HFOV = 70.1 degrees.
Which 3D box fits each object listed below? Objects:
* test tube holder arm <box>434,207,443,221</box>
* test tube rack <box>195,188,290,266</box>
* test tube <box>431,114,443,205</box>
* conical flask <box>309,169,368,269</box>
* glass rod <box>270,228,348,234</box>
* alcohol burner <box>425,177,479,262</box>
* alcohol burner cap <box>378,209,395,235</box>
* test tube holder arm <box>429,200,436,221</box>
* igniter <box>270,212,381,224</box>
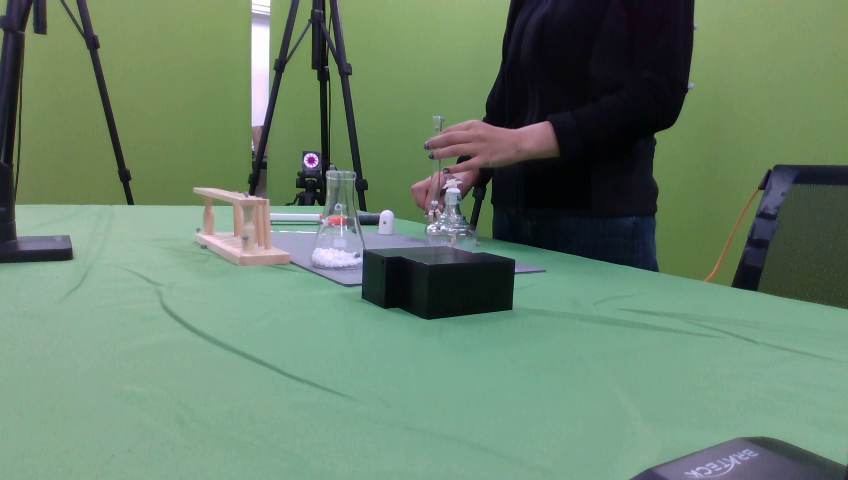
[{"bbox_3d":[0.023,-0.046,1.056,0.010,0.015,0.087,4,11,-6],"label":"test tube holder arm"},{"bbox_3d":[-0.266,-0.025,0.864,0.067,0.085,0.241,-2,9,-33],"label":"test tube rack"},{"bbox_3d":[0.021,-0.133,1.002,0.017,0.150,0.017,1,11,0],"label":"test tube"},{"bbox_3d":[-0.107,-0.028,0.762,0.075,0.122,0.075,2,7,0],"label":"conical flask"},{"bbox_3d":[-0.234,-0.017,1.105,0.201,0.008,0.008,2,6,-26],"label":"glass rod"},{"bbox_3d":[0.040,-0.029,0.853,0.078,0.119,0.078,2,9,0],"label":"alcohol burner"},{"bbox_3d":[-0.070,-0.035,1.144,0.034,0.048,0.034,2,8,0],"label":"alcohol burner cap"},{"bbox_3d":[0.017,-0.056,1.100,0.013,0.015,0.178,6,11,0],"label":"test tube holder arm"},{"bbox_3d":[-0.213,-0.048,1.278,0.278,0.025,0.057,-1,-2,-25],"label":"igniter"}]
